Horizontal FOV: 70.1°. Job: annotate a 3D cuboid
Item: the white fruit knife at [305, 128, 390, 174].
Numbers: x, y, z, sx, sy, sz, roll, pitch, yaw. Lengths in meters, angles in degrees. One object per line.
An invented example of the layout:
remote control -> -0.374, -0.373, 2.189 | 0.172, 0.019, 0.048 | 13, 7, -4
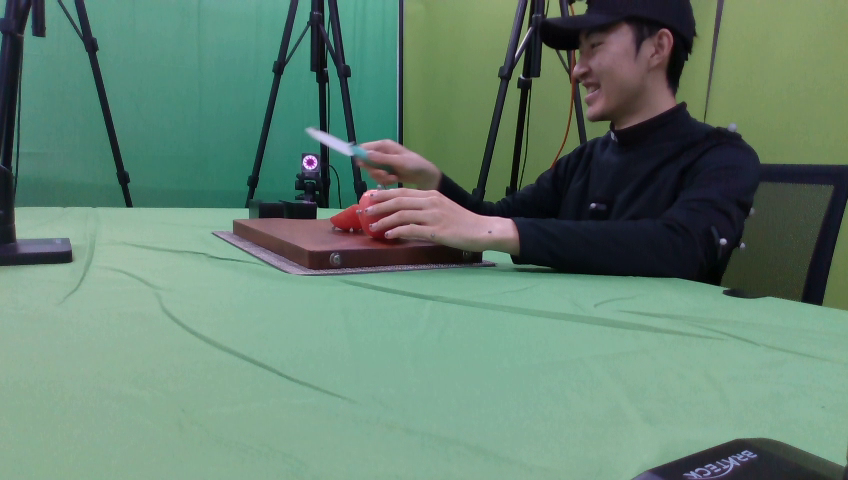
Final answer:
white fruit knife -> -0.135, -0.164, 1.097 | 0.016, 0.027, 0.208 | -21, -25, 34

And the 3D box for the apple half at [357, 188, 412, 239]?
apple half -> -0.050, -0.037, 0.873 | 0.081, 0.074, 0.053 | 0, 11, -40

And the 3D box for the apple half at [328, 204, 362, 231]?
apple half -> -0.107, -0.033, 0.954 | 0.081, 0.032, 0.081 | -18, -6, -1
